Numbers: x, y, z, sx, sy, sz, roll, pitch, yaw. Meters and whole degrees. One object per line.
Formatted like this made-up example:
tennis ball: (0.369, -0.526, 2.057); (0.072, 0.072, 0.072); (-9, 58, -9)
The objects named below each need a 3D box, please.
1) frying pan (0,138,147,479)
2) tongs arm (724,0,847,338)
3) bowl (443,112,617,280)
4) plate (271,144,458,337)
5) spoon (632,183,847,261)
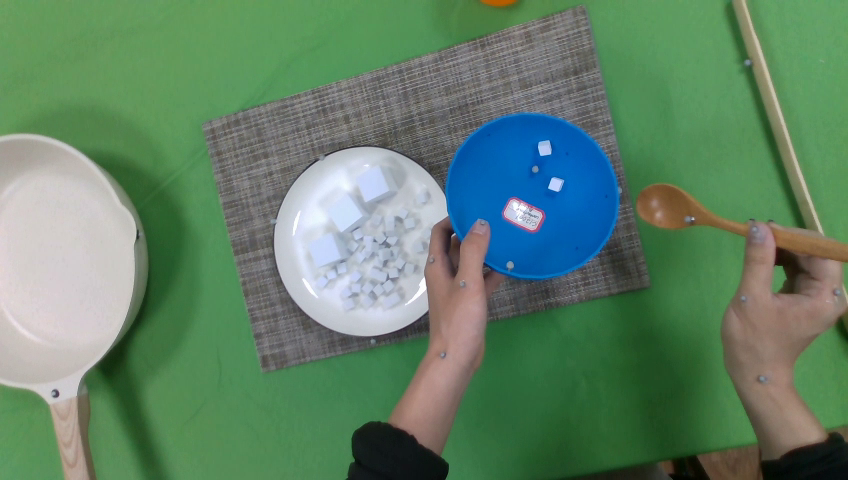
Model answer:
frying pan: (-0.433, 0.128, 0.708); (0.306, 0.103, 0.486); (-16, 81, 11)
tongs arm: (0.368, -0.064, 0.593); (0.028, 0.028, 0.387); (-21, 89, 8)
bowl: (0.089, -0.031, 0.552); (0.151, 0.077, 0.150); (1, 76, -2)
plate: (-0.063, 0.001, 0.665); (0.207, 0.039, 0.207); (0, 93, 11)
spoon: (0.243, -0.012, 0.478); (0.022, 0.192, 0.042); (-15, 112, -23)
